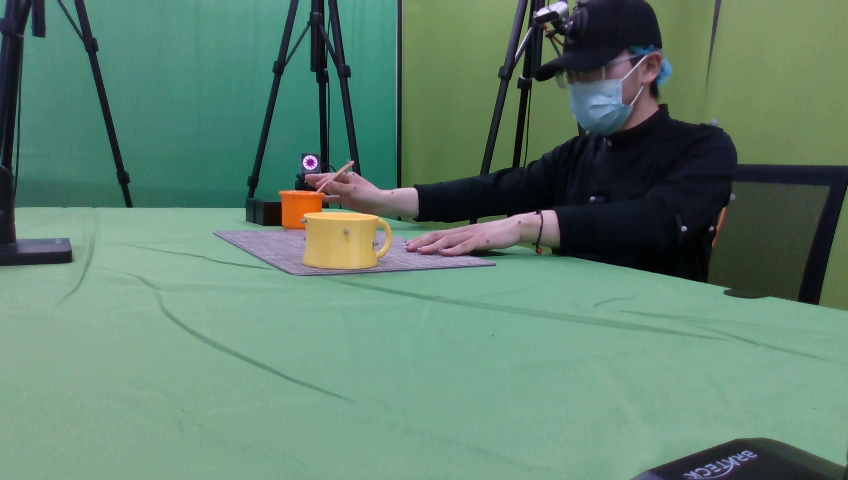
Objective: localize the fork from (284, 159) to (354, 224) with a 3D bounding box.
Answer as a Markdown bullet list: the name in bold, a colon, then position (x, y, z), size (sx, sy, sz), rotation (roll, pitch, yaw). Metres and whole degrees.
- **fork**: position (-0.212, -0.101, 1.243), size (0.207, 0.019, 0.028), rotation (-51, 26, -24)

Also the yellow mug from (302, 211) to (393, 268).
- **yellow mug**: position (-0.098, -0.003, 0.810), size (0.131, 0.064, 0.099), rotation (-2, 8, -37)
